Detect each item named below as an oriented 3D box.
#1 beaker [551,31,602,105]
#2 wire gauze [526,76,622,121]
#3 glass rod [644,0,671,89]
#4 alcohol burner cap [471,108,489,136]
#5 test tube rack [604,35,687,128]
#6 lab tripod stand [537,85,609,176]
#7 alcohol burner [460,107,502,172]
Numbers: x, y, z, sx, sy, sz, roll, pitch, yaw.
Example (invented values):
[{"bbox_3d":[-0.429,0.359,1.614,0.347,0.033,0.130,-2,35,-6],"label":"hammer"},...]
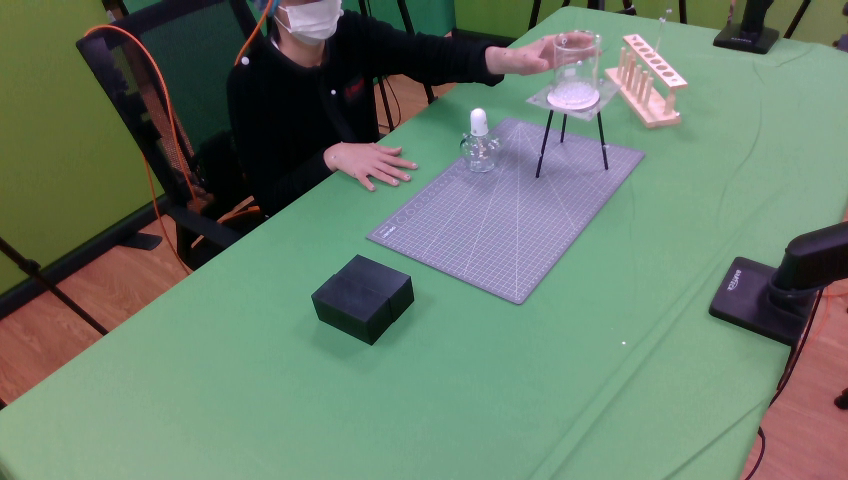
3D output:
[{"bbox_3d":[0.252,-0.282,0.998,0.084,0.101,0.073,-16,43,-7],"label":"beaker"},{"bbox_3d":[0.255,-0.247,1.031,0.124,0.011,0.122,23,49,34],"label":"wire gauze"},{"bbox_3d":[0.463,-0.387,1.204,0.008,0.200,0.008,0,47,1],"label":"glass rod"},{"bbox_3d":[0.098,-0.211,1.074,0.034,0.048,0.033,-6,42,6],"label":"alcohol burner cap"},{"bbox_3d":[0.447,-0.330,1.241,0.067,0.085,0.241,-9,41,-2],"label":"test tube rack"},{"bbox_3d":[0.259,-0.192,1.068,0.148,0.132,0.147,-4,43,4],"label":"lab tripod stand"},{"bbox_3d":[0.102,-0.185,1.098,0.078,0.119,0.077,-6,40,6],"label":"alcohol burner"}]
